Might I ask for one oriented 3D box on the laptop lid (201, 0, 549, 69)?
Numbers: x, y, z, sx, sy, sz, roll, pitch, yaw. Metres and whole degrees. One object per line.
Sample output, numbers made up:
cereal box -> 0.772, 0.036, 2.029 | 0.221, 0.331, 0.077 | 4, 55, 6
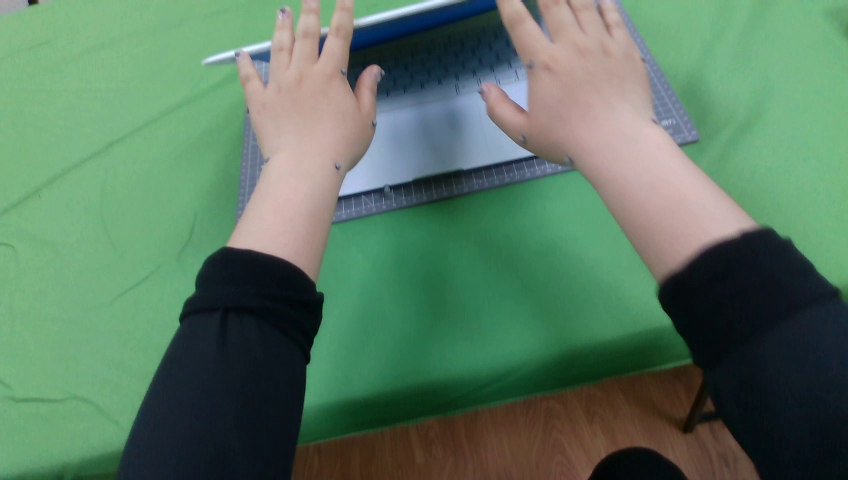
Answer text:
laptop lid -> -0.018, -0.216, 0.605 | 0.356, 0.013, 0.240 | -12, 16, 6

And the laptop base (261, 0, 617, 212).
laptop base -> 0.000, -0.149, 0.652 | 0.354, 0.023, 0.233 | -12, 55, 4
